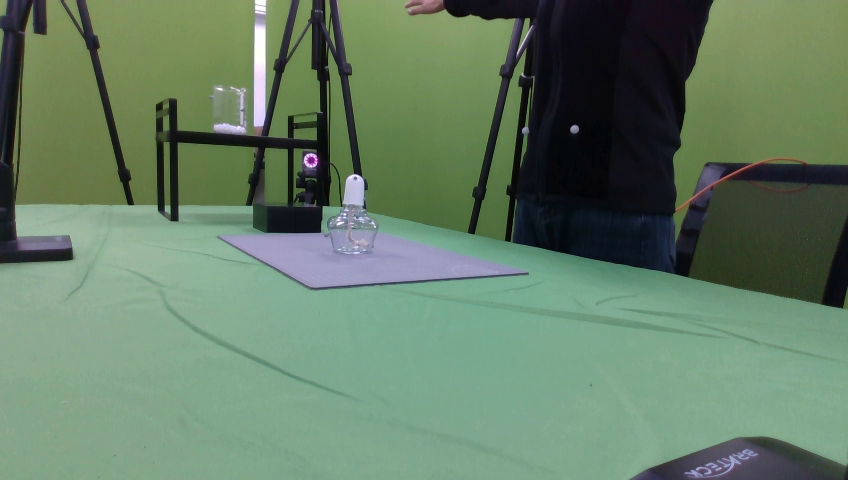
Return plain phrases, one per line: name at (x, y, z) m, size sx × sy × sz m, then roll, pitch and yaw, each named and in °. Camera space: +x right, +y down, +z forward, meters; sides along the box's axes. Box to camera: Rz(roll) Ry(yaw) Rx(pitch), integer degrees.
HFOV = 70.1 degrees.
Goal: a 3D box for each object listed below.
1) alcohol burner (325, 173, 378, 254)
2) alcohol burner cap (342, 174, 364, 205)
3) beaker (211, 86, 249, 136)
alcohol burner at (-0.107, -0.040, 0.896) m, size 0.078 × 0.119 × 0.078 m, roll 2°, pitch 5°, yaw 0°
alcohol burner cap at (-0.104, -0.074, 0.892) m, size 0.034 × 0.048 × 0.034 m, roll 4°, pitch 3°, yaw 0°
beaker at (-0.413, -0.274, 1.297) m, size 0.074 × 0.100 × 0.083 m, roll -5°, pitch 11°, yaw -44°
